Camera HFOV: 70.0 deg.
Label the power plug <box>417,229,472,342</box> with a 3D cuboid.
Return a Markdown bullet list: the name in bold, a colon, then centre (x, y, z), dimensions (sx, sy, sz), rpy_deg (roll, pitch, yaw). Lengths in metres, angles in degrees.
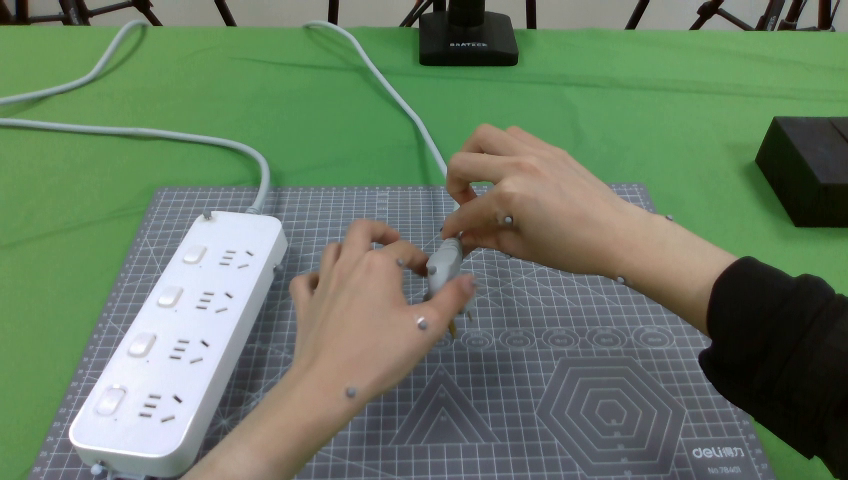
- **power plug**: centre (0.023, 0.030, 0.402), dimensions (0.035, 0.053, 0.072), rpy_deg (6, 33, 36)

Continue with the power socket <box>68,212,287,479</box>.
- **power socket**: centre (-0.160, 0.060, 0.424), dimensions (0.072, 0.033, 0.225), rpy_deg (7, 44, 5)
